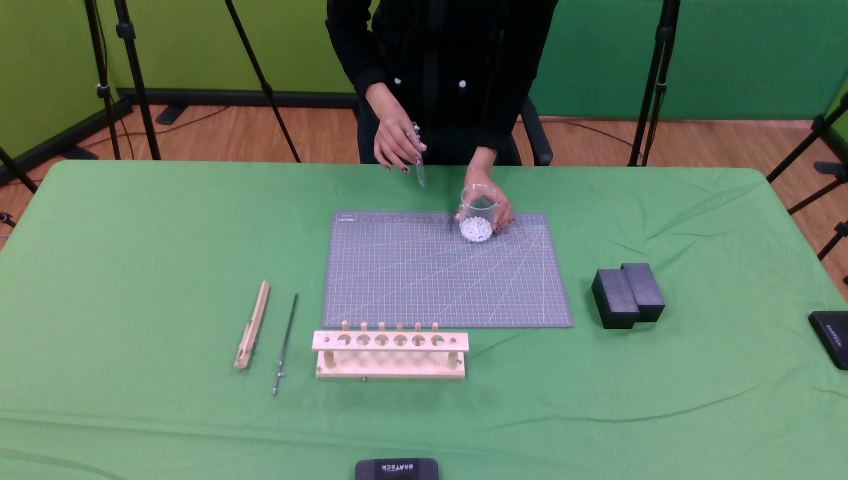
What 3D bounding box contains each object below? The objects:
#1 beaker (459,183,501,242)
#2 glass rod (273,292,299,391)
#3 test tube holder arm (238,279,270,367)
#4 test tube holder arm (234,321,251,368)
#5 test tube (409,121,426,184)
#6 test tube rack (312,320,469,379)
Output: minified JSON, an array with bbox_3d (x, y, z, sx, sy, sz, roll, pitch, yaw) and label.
[{"bbox_3d":[0.106,-0.053,1.198,0.074,0.101,0.083,-10,47,-12],"label":"beaker"},{"bbox_3d":[-0.233,0.167,1.030,0.008,0.008,0.198,3,46,0],"label":"glass rod"},{"bbox_3d":[-0.290,0.139,1.042,0.013,0.015,0.177,-16,42,22],"label":"test tube holder arm"},{"bbox_3d":[-0.299,0.173,1.013,0.010,0.015,0.087,-16,42,22],"label":"test tube holder arm"},{"bbox_3d":[-0.012,-0.167,1.181,0.017,0.151,0.017,-5,47,5],"label":"test tube"},{"bbox_3d":[-0.054,0.173,0.984,0.242,0.085,0.066,1,46,-3],"label":"test tube rack"}]
